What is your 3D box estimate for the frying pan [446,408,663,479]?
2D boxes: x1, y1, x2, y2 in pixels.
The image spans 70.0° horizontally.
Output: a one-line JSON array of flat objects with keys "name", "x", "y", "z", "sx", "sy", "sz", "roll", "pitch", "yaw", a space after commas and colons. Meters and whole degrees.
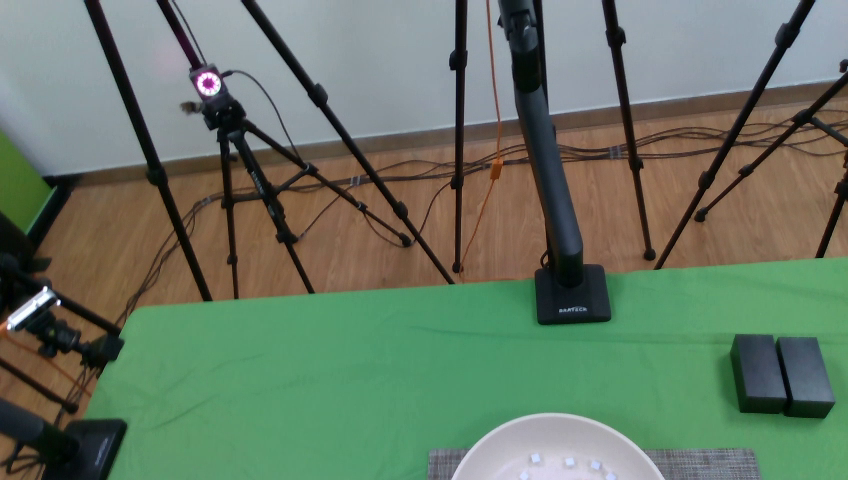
[{"name": "frying pan", "x": 0.150, "y": 0.430, "z": 0.696, "sx": 0.306, "sy": 0.104, "sz": 0.484, "roll": -2, "pitch": 41, "yaw": 14}]

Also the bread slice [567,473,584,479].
[{"name": "bread slice", "x": 0.168, "y": 0.379, "z": 0.789, "sx": 0.134, "sy": 0.018, "sz": 0.105, "roll": -19, "pitch": 48, "yaw": -4}]
